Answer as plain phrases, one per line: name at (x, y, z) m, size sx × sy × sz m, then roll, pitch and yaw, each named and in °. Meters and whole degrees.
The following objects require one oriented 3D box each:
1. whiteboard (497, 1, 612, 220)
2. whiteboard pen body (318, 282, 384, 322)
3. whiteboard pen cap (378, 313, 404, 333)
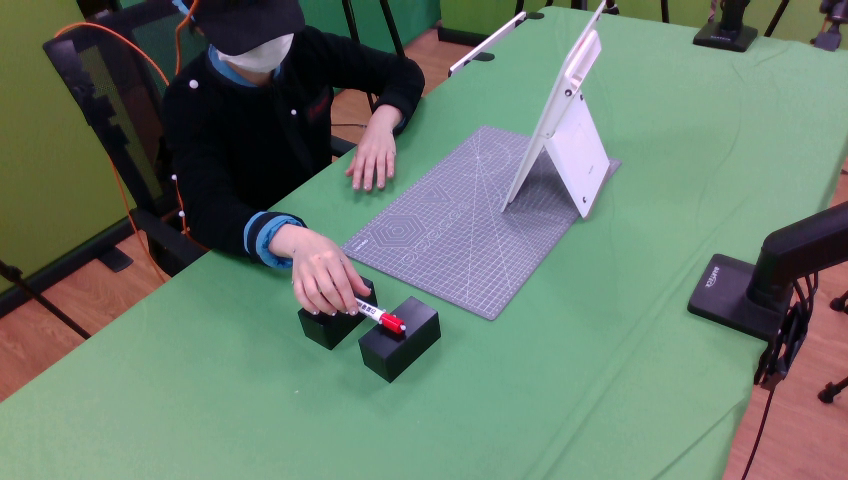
whiteboard at (0.260, -0.178, 0.963) m, size 0.143 × 0.306 × 0.217 m, roll 28°, pitch 49°, yaw 9°
whiteboard pen body at (-0.089, 0.087, 0.806) m, size 0.139 × 0.017 × 0.017 m, roll 22°, pitch 49°, yaw 32°
whiteboard pen cap at (-0.043, 0.106, 0.777) m, size 0.032 × 0.017 × 0.017 m, roll 23°, pitch 49°, yaw 33°
